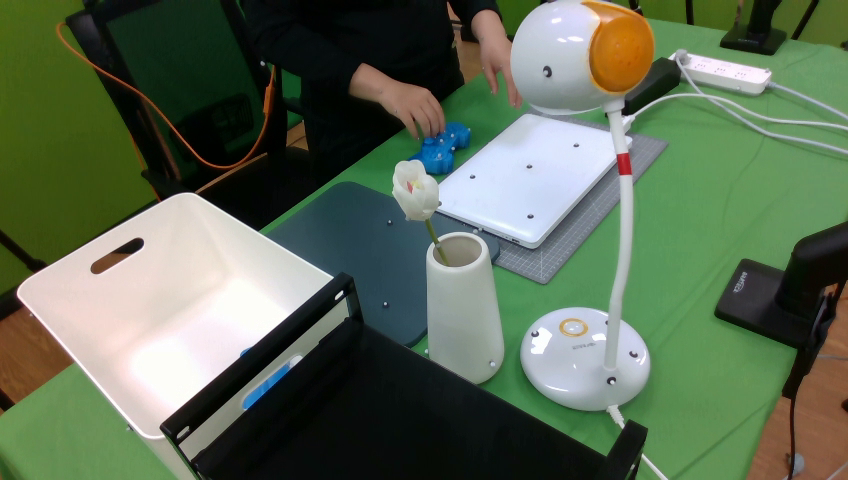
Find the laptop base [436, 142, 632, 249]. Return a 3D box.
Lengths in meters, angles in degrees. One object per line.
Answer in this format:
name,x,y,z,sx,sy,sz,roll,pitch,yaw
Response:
laptop base,0.192,-0.117,1.087,0.233,0.023,0.355,21,48,34

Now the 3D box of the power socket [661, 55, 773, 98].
power socket,0.619,-0.352,1.289,0.225,0.033,0.072,26,51,33

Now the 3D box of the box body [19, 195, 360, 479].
box body,-0.288,0.118,0.772,0.361,0.161,0.255,26,50,33

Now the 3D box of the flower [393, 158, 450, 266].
flower,0.028,0.036,0.664,0.043,0.364,0.038,36,73,30

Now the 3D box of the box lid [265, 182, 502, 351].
box lid,-0.087,0.023,0.971,0.368,0.015,0.264,23,49,31

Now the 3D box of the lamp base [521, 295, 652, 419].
lamp base,0.201,0.095,0.710,0.161,0.181,0.178,-16,43,-10

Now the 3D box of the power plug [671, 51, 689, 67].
power plug,0.541,-0.378,1.301,0.073,0.053,0.035,-32,46,-24

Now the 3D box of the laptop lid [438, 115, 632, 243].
laptop lid,0.189,-0.126,1.081,0.239,0.013,0.358,23,49,35

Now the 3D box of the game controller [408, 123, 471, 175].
game controller,0.028,-0.181,1.170,0.096,0.052,0.155,15,45,18

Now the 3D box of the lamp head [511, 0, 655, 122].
lamp head,0.155,-0.168,0.563,0.113,0.113,0.122,-18,23,-12

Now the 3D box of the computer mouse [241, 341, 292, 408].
computer mouse,-0.201,0.177,0.776,0.063,0.041,0.116,-11,44,-8

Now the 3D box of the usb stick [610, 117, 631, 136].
usb stick,0.369,-0.208,1.147,0.021,0.027,0.059,25,55,33

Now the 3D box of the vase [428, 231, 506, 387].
vase,0.050,0.087,0.728,0.098,0.201,0.097,-3,40,3
